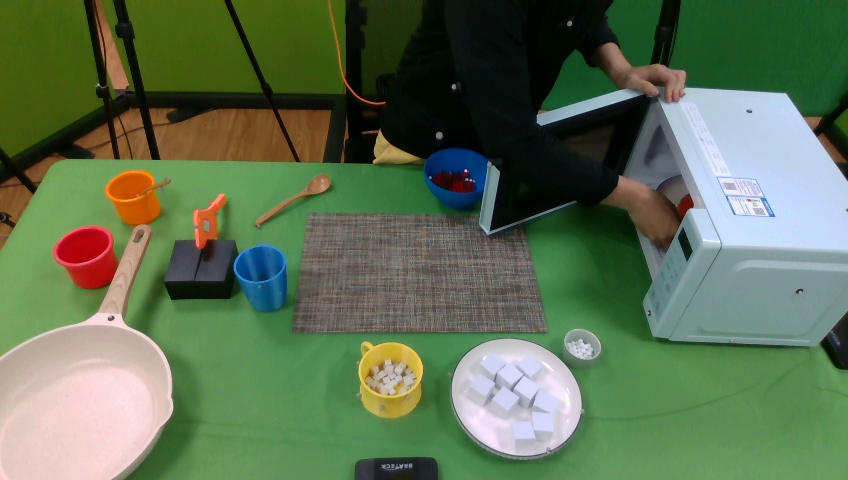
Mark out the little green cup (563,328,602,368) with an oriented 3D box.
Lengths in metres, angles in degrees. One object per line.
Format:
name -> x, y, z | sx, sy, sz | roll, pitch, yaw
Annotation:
little green cup -> 0.266, 0.185, 1.025 | 0.061, 0.039, 0.061 | 3, 45, -2

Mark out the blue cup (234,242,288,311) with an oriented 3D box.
blue cup -> -0.276, 0.071, 1.052 | 0.093, 0.101, 0.092 | 1, 48, -1

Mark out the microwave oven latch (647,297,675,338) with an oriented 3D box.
microwave oven latch -> 0.413, 0.133, 1.060 | 0.030, 0.029, 0.078 | 5, 46, 2

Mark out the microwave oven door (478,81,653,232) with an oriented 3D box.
microwave oven door -> 0.278, -0.165, 1.193 | 0.356, 0.245, 0.039 | -20, 51, -21

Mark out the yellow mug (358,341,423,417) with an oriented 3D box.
yellow mug -> -0.062, 0.209, 0.961 | 0.100, 0.064, 0.130 | -29, 54, -27

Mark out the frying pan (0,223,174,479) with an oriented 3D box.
frying pan -> -0.505, 0.169, 0.941 | 0.307, 0.103, 0.485 | 5, 54, -1

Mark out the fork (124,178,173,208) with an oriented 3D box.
fork -> -0.525, -0.090, 1.154 | 0.207, 0.019, 0.028 | -17, 27, 45

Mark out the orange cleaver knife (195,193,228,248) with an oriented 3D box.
orange cleaver knife -> -0.406, -0.041, 1.163 | 0.012, 0.077, 0.210 | -1, 18, -3

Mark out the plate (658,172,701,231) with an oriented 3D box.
plate -> 0.559, -0.056, 1.183 | 0.209, 0.038, 0.208 | 2, 44, -2

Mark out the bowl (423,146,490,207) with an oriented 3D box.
bowl -> 0.073, -0.123, 1.278 | 0.151, 0.077, 0.150 | 2, 46, -2

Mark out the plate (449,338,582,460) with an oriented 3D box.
plate -> 0.141, 0.251, 0.955 | 0.208, 0.039, 0.206 | 2, 46, -2

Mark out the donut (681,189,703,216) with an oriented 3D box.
donut -> 0.549, -0.061, 1.176 | 0.099, 0.048, 0.098 | 1, 47, -1

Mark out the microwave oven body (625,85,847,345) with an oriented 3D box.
microwave oven body -> 0.568, -0.054, 1.116 | 0.326, 0.261, 0.439 | 2, 46, -1

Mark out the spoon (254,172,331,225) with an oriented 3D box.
spoon -> -0.272, -0.087, 1.257 | 0.041, 0.022, 0.193 | 46, 57, 12
